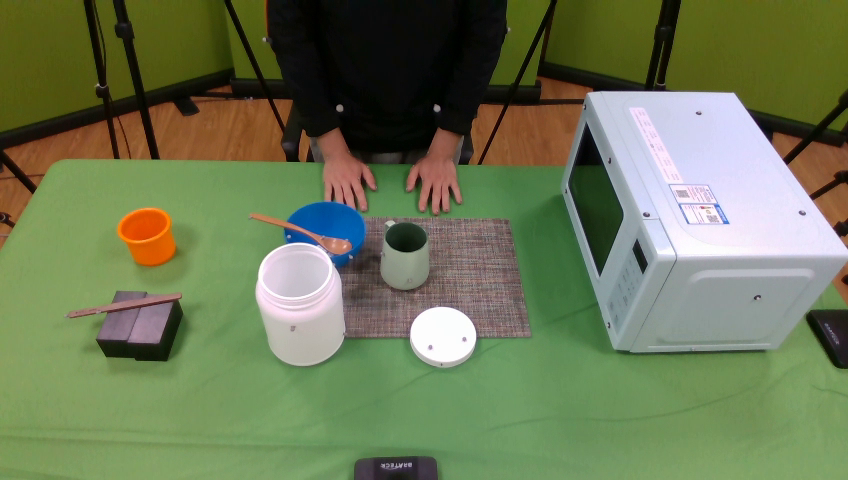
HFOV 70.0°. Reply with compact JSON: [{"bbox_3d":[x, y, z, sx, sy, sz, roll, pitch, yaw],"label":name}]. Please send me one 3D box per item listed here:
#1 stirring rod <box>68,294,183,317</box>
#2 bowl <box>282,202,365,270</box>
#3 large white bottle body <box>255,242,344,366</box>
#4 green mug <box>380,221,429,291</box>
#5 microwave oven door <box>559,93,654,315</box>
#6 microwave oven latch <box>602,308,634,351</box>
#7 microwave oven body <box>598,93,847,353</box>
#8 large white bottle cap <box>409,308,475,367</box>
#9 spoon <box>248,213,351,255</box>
[{"bbox_3d":[-0.491,0.108,1.001,0.176,0.006,0.014,-8,40,-14],"label":"stirring rod"},{"bbox_3d":[-0.186,0.006,1.136,0.151,0.077,0.150,3,46,-3],"label":"bowl"},{"bbox_3d":[-0.196,0.102,0.967,0.131,0.185,0.130,2,49,-2],"label":"large white bottle body"},{"bbox_3d":[-0.043,0.020,1.116,0.092,0.105,0.124,-20,50,-21],"label":"green mug"},{"bbox_3d":[0.327,-0.074,1.123,0.039,0.245,0.353,-1,46,-5],"label":"microwave oven door"},{"bbox_3d":[0.332,0.153,1.044,0.030,0.029,0.078,-1,45,-4],"label":"microwave oven latch"},{"bbox_3d":[0.475,-0.041,1.110,0.326,0.261,0.438,-1,45,-4],"label":"microwave oven body"},{"bbox_3d":[0.031,0.166,1.041,0.115,0.018,0.114,2,47,-2],"label":"large white bottle cap"},{"bbox_3d":[-0.228,-0.014,1.113,0.194,0.022,0.041,23,40,-15],"label":"spoon"}]
